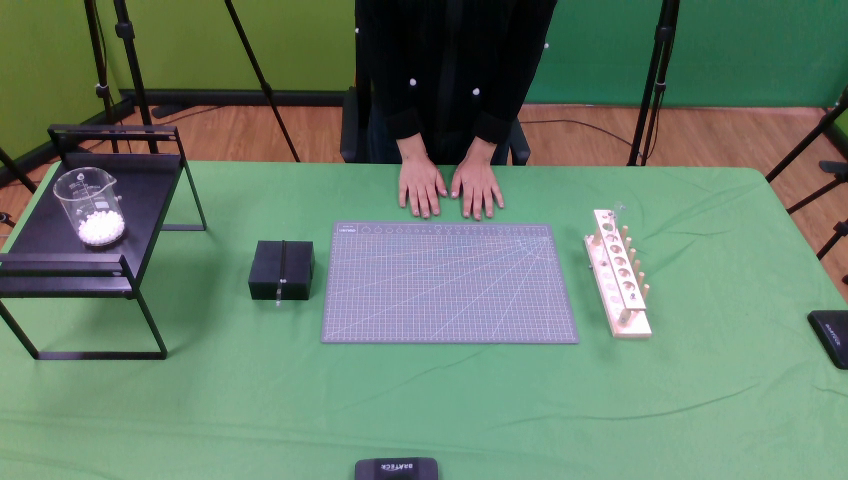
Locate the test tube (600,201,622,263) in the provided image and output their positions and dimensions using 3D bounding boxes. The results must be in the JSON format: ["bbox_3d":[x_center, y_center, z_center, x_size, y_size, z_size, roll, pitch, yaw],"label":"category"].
[{"bbox_3d":[0.346,-0.012,1.123,0.017,0.151,0.017,-2,44,2],"label":"test tube"}]

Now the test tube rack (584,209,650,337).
[{"bbox_3d":[0.365,0.056,1.129,0.067,0.085,0.240,1,46,-4],"label":"test tube rack"}]

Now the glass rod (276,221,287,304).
[{"bbox_3d":[-0.256,0.036,1.086,0.008,0.008,0.198,-2,46,-6],"label":"glass rod"}]

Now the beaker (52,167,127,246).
[{"bbox_3d":[-0.490,-0.048,0.902,0.084,0.101,0.073,-15,49,-18],"label":"beaker"}]
